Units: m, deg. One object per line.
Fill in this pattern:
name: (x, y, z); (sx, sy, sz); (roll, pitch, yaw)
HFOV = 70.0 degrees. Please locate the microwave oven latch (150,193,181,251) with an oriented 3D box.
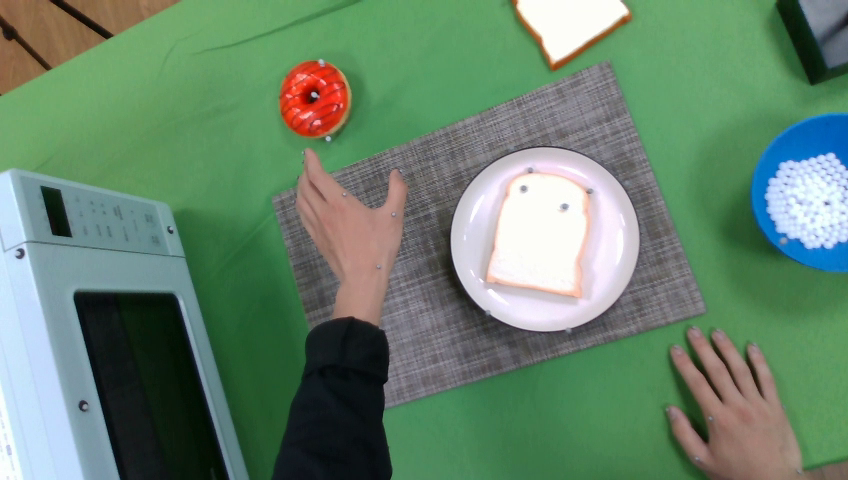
microwave oven latch: (-0.345, -0.021, 0.790); (0.030, 0.029, 0.079); (-21, 82, 12)

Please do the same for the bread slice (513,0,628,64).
bread slice: (0.157, -0.286, 0.707); (0.105, 0.019, 0.131); (-34, 80, 9)

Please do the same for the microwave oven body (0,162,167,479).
microwave oven body: (-0.447, 0.189, 0.702); (0.326, 0.261, 0.440); (-21, 82, 12)

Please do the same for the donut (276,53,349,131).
donut: (-0.141, -0.186, 0.764); (0.099, 0.048, 0.099); (-1, 86, 17)

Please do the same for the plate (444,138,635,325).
plate: (0.127, -0.008, 0.682); (0.207, 0.039, 0.207); (-1, 86, 14)

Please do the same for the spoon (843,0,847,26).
spoon: (0.405, -0.236, 0.548); (0.021, 0.195, 0.041); (-19, 79, 27)

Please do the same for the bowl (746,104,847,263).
bowl: (0.393, -0.049, 0.599); (0.151, 0.077, 0.151); (-1, 86, 14)

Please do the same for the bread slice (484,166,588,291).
bread slice: (0.127, -0.016, 0.682); (0.106, 0.018, 0.134); (6, 87, 14)

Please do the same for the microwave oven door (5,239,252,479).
microwave oven door: (-0.301, 0.176, 0.661); (0.039, 0.245, 0.354); (-22, 81, 12)
